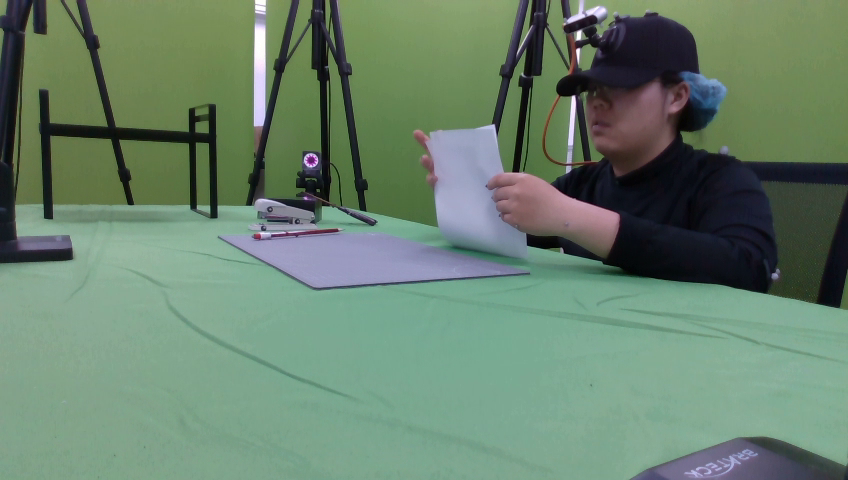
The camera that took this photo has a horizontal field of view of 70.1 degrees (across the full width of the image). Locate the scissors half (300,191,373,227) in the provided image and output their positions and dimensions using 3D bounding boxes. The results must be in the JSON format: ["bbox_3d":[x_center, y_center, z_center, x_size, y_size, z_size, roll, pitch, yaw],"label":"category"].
[{"bbox_3d":[-0.191,-0.069,1.314,0.175,0.013,0.040,26,16,7],"label":"scissors half"}]

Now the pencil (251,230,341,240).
[{"bbox_3d":[-0.215,-0.011,1.049,0.012,0.012,0.195,9,9,39],"label":"pencil"}]

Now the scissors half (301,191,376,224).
[{"bbox_3d":[-0.189,-0.073,1.333,0.175,0.013,0.040,22,11,-10],"label":"scissors half"}]

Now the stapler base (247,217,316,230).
[{"bbox_3d":[-0.276,-0.033,1.172,0.131,0.024,0.041,0,10,-37],"label":"stapler base"}]

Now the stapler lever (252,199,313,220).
[{"bbox_3d":[-0.273,-0.058,1.170,0.119,0.040,0.026,0,10,-37],"label":"stapler lever"}]
